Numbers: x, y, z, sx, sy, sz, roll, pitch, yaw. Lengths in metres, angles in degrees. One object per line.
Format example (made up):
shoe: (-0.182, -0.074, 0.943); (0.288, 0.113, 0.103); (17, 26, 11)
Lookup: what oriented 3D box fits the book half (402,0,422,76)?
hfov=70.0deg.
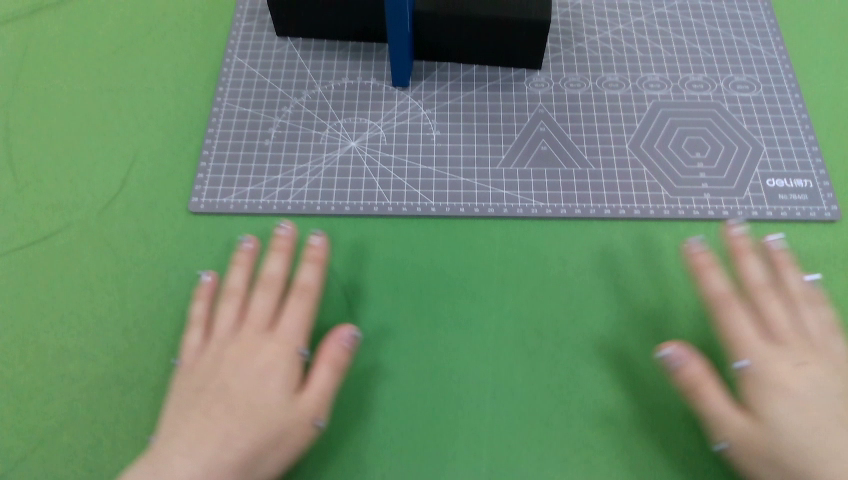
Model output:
book half: (-0.007, -0.236, 0.407); (0.007, 0.212, 0.142); (6, 63, 4)

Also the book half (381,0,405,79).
book half: (-0.014, -0.235, 0.406); (0.016, 0.212, 0.147); (5, 63, 3)
